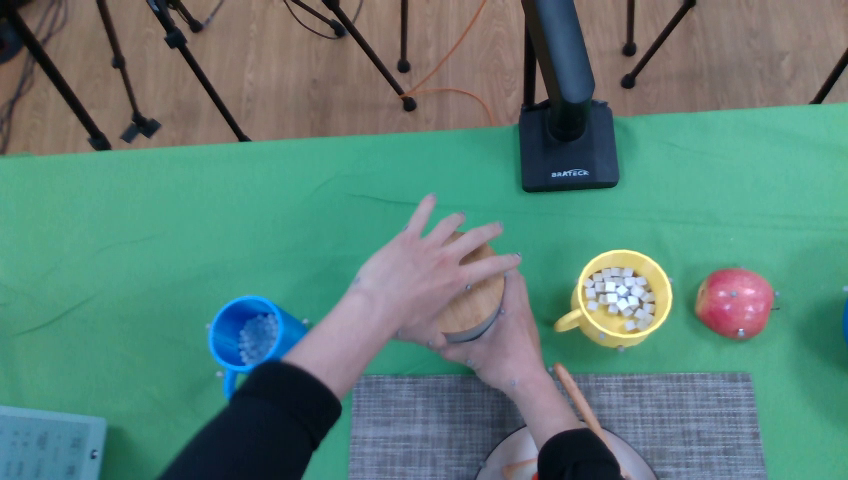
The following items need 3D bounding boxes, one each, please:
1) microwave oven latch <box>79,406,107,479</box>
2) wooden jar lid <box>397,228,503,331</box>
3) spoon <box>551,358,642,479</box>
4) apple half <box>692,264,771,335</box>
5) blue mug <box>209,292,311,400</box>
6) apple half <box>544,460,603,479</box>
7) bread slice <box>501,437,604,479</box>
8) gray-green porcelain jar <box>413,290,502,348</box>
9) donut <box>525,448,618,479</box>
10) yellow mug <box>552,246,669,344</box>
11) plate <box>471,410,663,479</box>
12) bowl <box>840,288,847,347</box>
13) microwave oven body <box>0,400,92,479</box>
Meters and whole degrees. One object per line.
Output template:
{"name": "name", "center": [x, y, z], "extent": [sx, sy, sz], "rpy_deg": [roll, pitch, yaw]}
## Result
{"name": "microwave oven latch", "center": [-0.393, 0.234, 0.700], "extent": [0.030, 0.030, 0.078], "rpy_deg": [4, 72, 8]}
{"name": "wooden jar lid", "center": [0.027, 0.041, 0.620], "extent": [0.108, 0.021, 0.107], "rpy_deg": [-3, 70, 8]}
{"name": "spoon", "center": [0.188, 0.210, 0.635], "extent": [0.041, 0.022, 0.193], "rpy_deg": [-27, 79, -4]}
{"name": "apple half", "center": [0.347, 0.061, 0.679], "extent": [0.074, 0.054, 0.080], "rpy_deg": [19, 75, 16]}
{"name": "blue mug", "center": [-0.192, 0.128, 0.696], "extent": [0.082, 0.106, 0.116], "rpy_deg": [18, 74, 13]}
{"name": "apple half", "center": [0.143, 0.252, 0.575], "extent": [0.081, 0.033, 0.080], "rpy_deg": [-6, 65, 13]}
{"name": "bread slice", "center": [0.153, 0.284, 0.633], "extent": [0.107, 0.018, 0.133], "rpy_deg": [-19, 69, 1]}
{"name": "gray-green porcelain jar", "center": [0.035, 0.062, 0.679], "extent": [0.106, 0.127, 0.105], "rpy_deg": [-2, 71, 6]}
{"name": "donut", "center": [0.149, 0.260, 0.609], "extent": [0.099, 0.048, 0.098], "rpy_deg": [-2, 70, 6]}
{"name": "yellow mug", "center": [0.205, 0.070, 0.687], "extent": [0.131, 0.064, 0.099], "rpy_deg": [-25, 70, -1]}
{"name": "plate", "center": [0.148, 0.285, 0.631], "extent": [0.207, 0.039, 0.206], "rpy_deg": [-2, 71, 7]}
{"name": "bowl", "center": [0.506, 0.092, 0.634], "extent": [0.151, 0.077, 0.150], "rpy_deg": [-2, 72, 7]}
{"name": "microwave oven body", "center": [-0.551, 0.376, 0.569], "extent": [0.326, 0.262, 0.439], "rpy_deg": [-2, 71, 6]}
